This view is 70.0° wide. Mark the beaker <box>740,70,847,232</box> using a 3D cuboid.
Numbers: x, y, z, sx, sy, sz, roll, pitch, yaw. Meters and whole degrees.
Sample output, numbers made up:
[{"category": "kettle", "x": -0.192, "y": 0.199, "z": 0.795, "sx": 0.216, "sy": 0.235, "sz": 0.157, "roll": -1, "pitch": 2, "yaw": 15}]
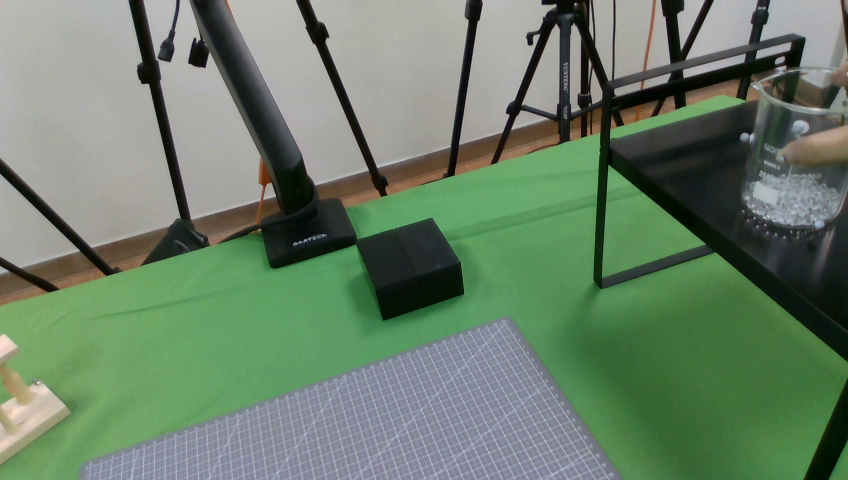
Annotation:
[{"category": "beaker", "x": 0.275, "y": -0.063, "z": 0.445, "sx": 0.074, "sy": 0.101, "sz": 0.083, "roll": -34, "pitch": 42, "yaw": -29}]

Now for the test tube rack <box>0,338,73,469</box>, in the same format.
[{"category": "test tube rack", "x": -0.474, "y": 0.205, "z": 0.560, "sx": 0.066, "sy": 0.086, "sz": 0.242, "roll": 21, "pitch": 45, "yaw": 34}]
